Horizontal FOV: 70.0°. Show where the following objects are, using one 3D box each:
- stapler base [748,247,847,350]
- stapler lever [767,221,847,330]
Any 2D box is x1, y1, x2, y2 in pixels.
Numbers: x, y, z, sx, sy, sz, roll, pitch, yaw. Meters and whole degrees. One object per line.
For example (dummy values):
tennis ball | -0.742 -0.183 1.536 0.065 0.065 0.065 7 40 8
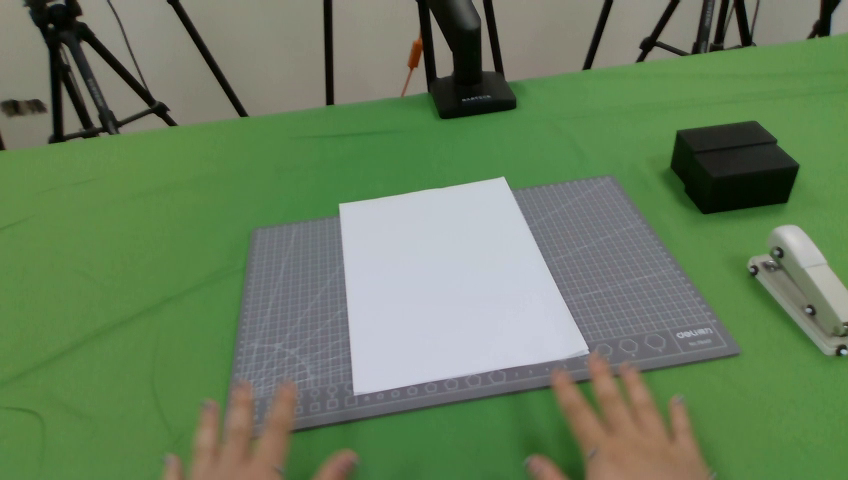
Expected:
stapler base | 0.356 0.045 0.564 0.041 0.025 0.129 -12 41 -3
stapler lever | 0.354 0.027 0.547 0.027 0.040 0.117 -12 40 -3
